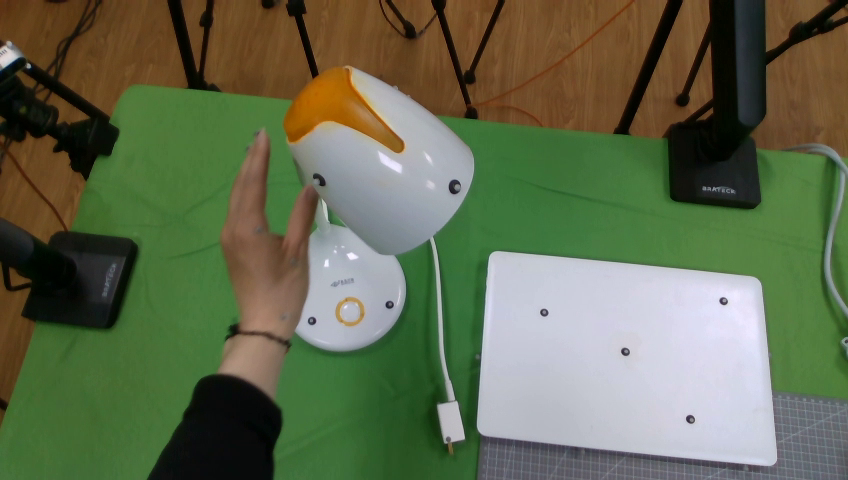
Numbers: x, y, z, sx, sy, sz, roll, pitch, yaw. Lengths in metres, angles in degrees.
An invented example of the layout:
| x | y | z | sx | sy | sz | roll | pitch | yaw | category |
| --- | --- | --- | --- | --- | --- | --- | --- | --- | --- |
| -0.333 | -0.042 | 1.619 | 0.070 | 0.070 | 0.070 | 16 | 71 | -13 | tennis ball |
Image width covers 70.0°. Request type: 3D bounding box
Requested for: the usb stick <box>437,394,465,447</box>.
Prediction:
| x | y | z | sx | sy | sz | roll | pitch | yaw | category |
| --- | --- | --- | --- | --- | --- | --- | --- | --- | --- |
| 0.032 | 0.214 | 0.719 | 0.027 | 0.021 | 0.059 | -8 | 78 | -4 | usb stick |

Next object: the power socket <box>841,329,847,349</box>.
| x | y | z | sx | sy | sz | roll | pitch | yaw | category |
| --- | --- | --- | --- | --- | --- | --- | --- | --- | --- |
| 0.616 | 0.186 | 0.730 | 0.072 | 0.033 | 0.225 | -33 | 72 | -13 | power socket |

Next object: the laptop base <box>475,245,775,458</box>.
| x | y | z | sx | sy | sz | roll | pitch | yaw | category |
| --- | --- | --- | --- | --- | --- | --- | --- | --- | --- |
| 0.247 | 0.133 | 0.758 | 0.354 | 0.023 | 0.234 | 5 | 71 | 2 | laptop base |

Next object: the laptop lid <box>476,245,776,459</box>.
| x | y | z | sx | sy | sz | roll | pitch | yaw | category |
| --- | --- | --- | --- | --- | --- | --- | --- | --- | --- |
| 0.247 | 0.130 | 0.746 | 0.356 | 0.013 | 0.240 | 7 | 70 | 2 | laptop lid |

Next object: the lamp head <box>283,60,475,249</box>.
| x | y | z | sx | sy | sz | roll | pitch | yaw | category |
| --- | --- | --- | --- | --- | --- | --- | --- | --- | --- |
| -0.043 | -0.070 | 0.443 | 0.124 | 0.112 | 0.112 | 39 | 67 | -31 | lamp head |

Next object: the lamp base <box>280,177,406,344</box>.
| x | y | z | sx | sy | sz | roll | pitch | yaw | category |
| --- | --- | --- | --- | --- | --- | --- | --- | --- | --- |
| -0.110 | 0.016 | 0.712 | 0.161 | 0.181 | 0.177 | -23 | 68 | -9 | lamp base |

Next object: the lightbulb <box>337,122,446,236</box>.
| x | y | z | sx | sy | sz | roll | pitch | yaw | category |
| --- | --- | --- | --- | --- | --- | --- | --- | --- | --- |
| -0.027 | -0.047 | 0.455 | 0.059 | 0.109 | 0.059 | -26 | 38 | 23 | lightbulb |
